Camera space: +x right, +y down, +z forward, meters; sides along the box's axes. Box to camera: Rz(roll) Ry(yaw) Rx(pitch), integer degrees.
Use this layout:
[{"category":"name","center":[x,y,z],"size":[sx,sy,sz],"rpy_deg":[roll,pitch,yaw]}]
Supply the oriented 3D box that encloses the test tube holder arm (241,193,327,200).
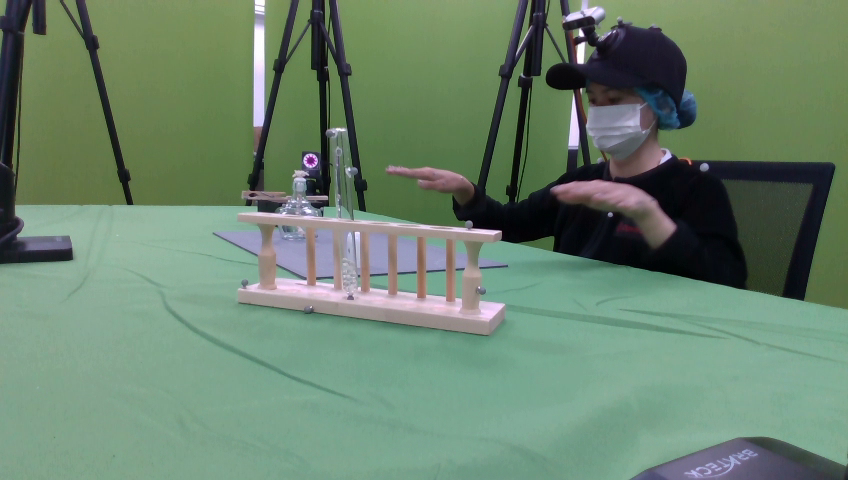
[{"category":"test tube holder arm","center":[-0.289,-0.091,1.261],"size":[0.179,0.013,0.015],"rpy_deg":[-3,7,-29]}]

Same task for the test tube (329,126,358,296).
[{"category":"test tube","center":[-0.071,-0.025,0.535],"size":[0.017,0.150,0.017],"rpy_deg":[-3,8,1]}]

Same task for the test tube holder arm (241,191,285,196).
[{"category":"test tube holder arm","center":[-0.328,-0.095,1.238],"size":[0.088,0.010,0.015],"rpy_deg":[-2,7,-29]}]

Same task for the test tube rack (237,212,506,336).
[{"category":"test tube rack","center":[-0.049,0.024,0.552],"size":[0.242,0.085,0.067],"rpy_deg":[5,8,19]}]

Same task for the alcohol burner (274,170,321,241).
[{"category":"alcohol burner","center":[-0.212,-0.058,1.015],"size":[0.078,0.119,0.078],"rpy_deg":[4,5,0]}]

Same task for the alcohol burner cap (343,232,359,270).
[{"category":"alcohol burner cap","center":[-0.087,0.013,0.777],"size":[0.034,0.048,0.034],"rpy_deg":[3,7,0]}]
